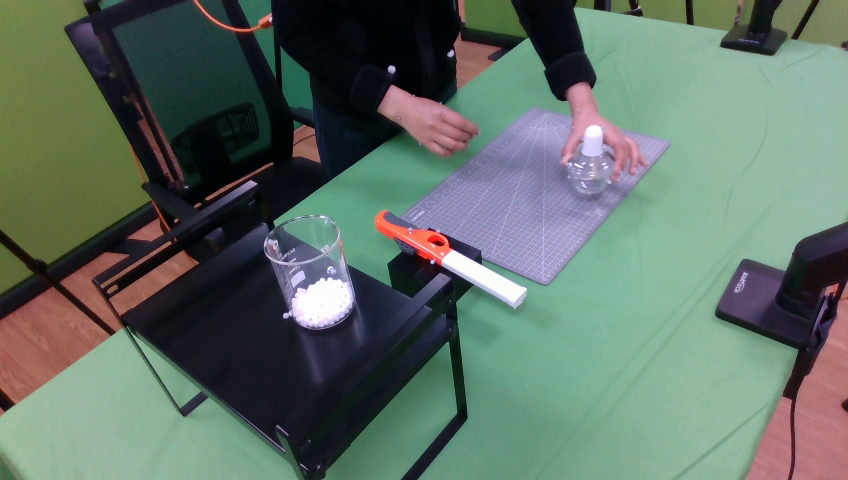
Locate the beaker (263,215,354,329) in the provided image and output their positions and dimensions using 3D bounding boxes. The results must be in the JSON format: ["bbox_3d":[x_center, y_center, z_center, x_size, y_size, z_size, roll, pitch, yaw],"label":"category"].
[{"bbox_3d":[-0.112,0.034,0.616,0.073,0.101,0.084,13,44,23],"label":"beaker"}]

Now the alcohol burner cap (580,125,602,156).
[{"bbox_3d":[0.264,-0.159,0.949,0.034,0.048,0.033,-5,45,5],"label":"alcohol burner cap"}]

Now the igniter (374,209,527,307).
[{"bbox_3d":[0.027,0.019,0.873,0.274,0.025,0.057,29,52,31],"label":"igniter"}]

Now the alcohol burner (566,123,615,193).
[{"bbox_3d":[0.267,-0.135,0.968,0.078,0.120,0.077,-6,43,6],"label":"alcohol burner"}]
